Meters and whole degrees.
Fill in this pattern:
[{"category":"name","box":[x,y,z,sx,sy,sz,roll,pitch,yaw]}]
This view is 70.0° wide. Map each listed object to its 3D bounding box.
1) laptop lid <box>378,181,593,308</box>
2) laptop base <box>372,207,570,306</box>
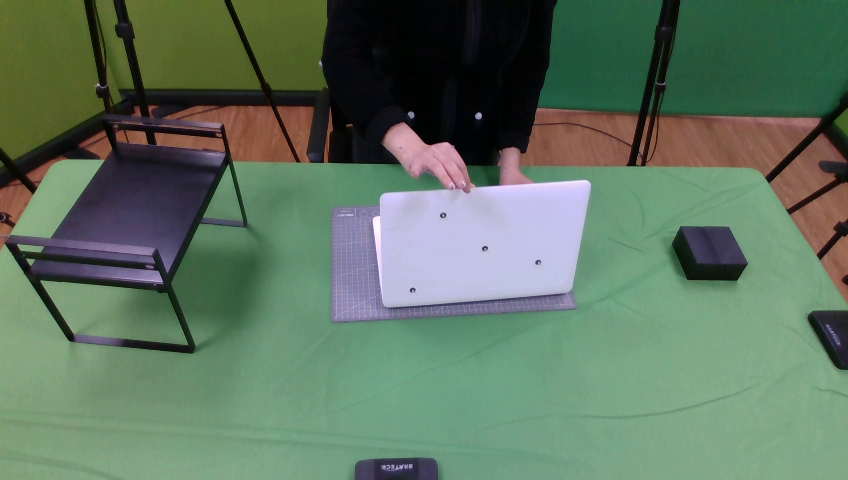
[{"category":"laptop lid","box":[0.101,0.012,1.026,0.357,0.243,0.013,-3,35,-9]},{"category":"laptop base","box":[0.083,0.027,1.178,0.355,0.023,0.234,-4,43,-8]}]
